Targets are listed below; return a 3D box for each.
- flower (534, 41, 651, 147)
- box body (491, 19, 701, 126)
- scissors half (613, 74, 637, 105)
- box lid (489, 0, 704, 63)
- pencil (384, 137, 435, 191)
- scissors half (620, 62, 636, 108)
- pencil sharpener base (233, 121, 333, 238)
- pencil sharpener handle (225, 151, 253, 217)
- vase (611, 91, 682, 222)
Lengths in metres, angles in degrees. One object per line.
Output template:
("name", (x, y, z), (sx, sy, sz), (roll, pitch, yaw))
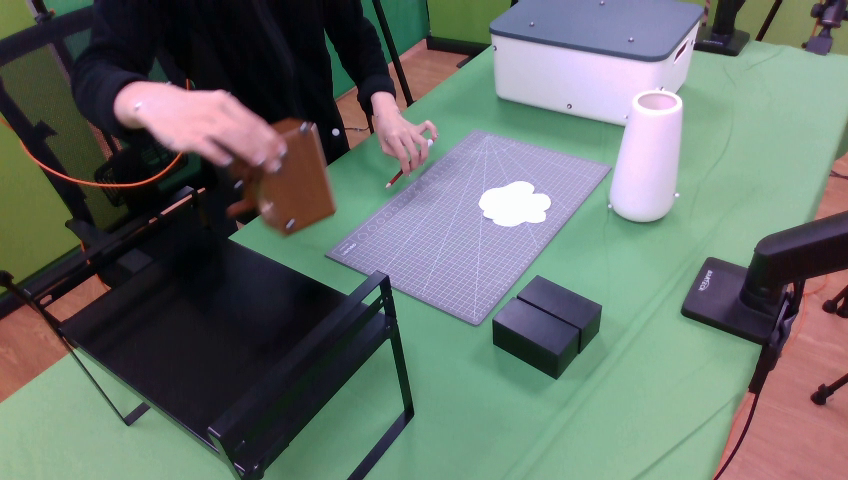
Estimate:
("flower", (0.364, -0.319, 1.319), (0.038, 0.044, 0.359), (-4, 48, -50))
("box body", (0.352, -0.384, 1.268), (0.361, 0.161, 0.255), (21, 48, 29))
("scissors half", (0.427, -0.330, 1.306), (0.013, 0.040, 0.174), (31, 31, -14))
("box lid", (0.345, -0.441, 1.217), (0.369, 0.015, 0.264), (21, 49, 29))
("pencil", (-0.025, -0.140, 1.102), (0.012, 0.012, 0.194), (14, 41, 23))
("scissors half", (0.434, -0.340, 1.298), (0.013, 0.040, 0.174), (25, 42, -11))
("pencil sharpener base", (-0.155, -0.066, 0.662), (0.077, 0.107, 0.061), (-29, 33, -29))
("pencil sharpener handle", (-0.198, -0.057, 0.633), (0.031, 0.068, 0.035), (-29, 44, -29))
("vase", (0.348, -0.125, 0.935), (0.098, 0.201, 0.097), (-3, 40, 3))
